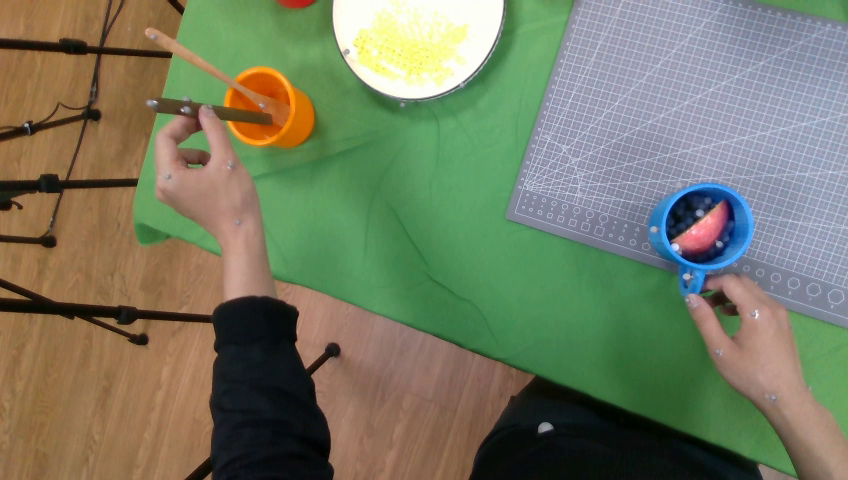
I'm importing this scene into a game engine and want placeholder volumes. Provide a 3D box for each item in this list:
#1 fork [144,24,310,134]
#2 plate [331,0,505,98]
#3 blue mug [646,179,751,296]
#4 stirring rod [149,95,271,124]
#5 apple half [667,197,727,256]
[{"bbox_3d":[-0.225,-0.186,0.710,0.209,0.018,0.028,30,99,-33],"label":"fork"},{"bbox_3d":[-0.007,-0.270,0.714,0.208,0.038,0.209,0,92,14],"label":"plate"},{"bbox_3d":[0.274,0.000,0.620,0.082,0.106,0.116,7,93,13],"label":"blue mug"},{"bbox_3d":[-0.207,-0.130,0.609,0.006,0.176,0.014,-7,94,22],"label":"stirring rod"},{"bbox_3d":[0.280,-0.008,0.613,0.081,0.081,0.032,-39,75,12],"label":"apple half"}]
